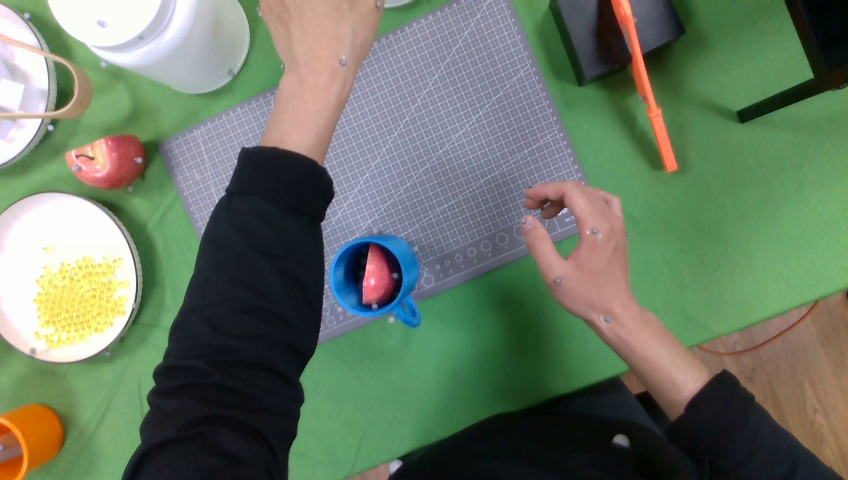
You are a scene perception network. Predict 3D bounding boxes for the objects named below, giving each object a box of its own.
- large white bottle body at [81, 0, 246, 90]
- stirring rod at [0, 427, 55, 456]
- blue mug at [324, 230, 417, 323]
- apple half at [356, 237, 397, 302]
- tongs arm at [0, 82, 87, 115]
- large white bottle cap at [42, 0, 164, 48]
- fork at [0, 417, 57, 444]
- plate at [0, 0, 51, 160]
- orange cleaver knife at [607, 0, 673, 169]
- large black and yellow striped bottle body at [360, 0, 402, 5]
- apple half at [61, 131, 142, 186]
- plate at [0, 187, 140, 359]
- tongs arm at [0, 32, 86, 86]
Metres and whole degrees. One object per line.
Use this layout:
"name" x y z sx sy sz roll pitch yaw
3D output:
"large white bottle body" -0.282 -0.239 0.633 0.130 0.184 0.130 0 93 6
"stirring rod" -0.534 0.259 0.710 0.177 0.006 0.014 -16 80 -34
"blue mug" -0.046 0.043 0.668 0.082 0.106 0.116 -39 90 7
"apple half" -0.045 0.033 0.662 0.032 0.081 0.081 9 94 13
"tongs arm" -0.580 -0.169 0.706 0.384 0.026 0.051 5 91 7
"large white bottle cap" -0.292 -0.234 0.548 0.115 0.018 0.115 0 94 6
"fork" -0.549 0.245 0.708 0.208 0.018 0.028 -8 92 -37
"plate" -0.545 -0.193 0.733 0.207 0.039 0.208 0 94 5
"orange cleaver knife" 0.226 -0.174 0.642 0.012 0.076 0.213 -21 118 15
"large black and yellow striped bottle body" -0.056 -0.329 0.606 0.130 0.184 0.131 0 93 6
"apple half" -0.369 -0.090 0.707 0.081 0.074 0.053 -19 95 2
"plate" -0.443 0.039 0.740 0.209 0.038 0.209 0 94 6
"tongs arm" -0.565 -0.252 0.701 0.387 0.028 0.028 19 89 6
